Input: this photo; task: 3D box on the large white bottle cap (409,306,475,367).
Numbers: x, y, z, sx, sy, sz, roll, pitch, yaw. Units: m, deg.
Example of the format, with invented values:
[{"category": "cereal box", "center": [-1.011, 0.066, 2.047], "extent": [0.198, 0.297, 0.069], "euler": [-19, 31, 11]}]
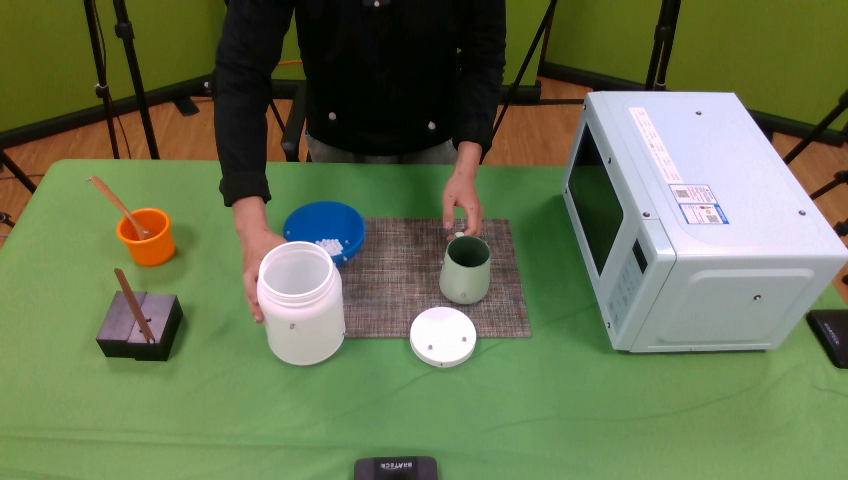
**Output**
[{"category": "large white bottle cap", "center": [0.031, 0.164, 1.040], "extent": [0.115, 0.018, 0.114], "euler": [3, 50, -3]}]

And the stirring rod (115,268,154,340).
[{"category": "stirring rod", "center": [-0.479, 0.102, 0.999], "extent": [0.014, 0.006, 0.175], "euler": [8, 32, -49]}]

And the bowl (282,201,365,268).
[{"category": "bowl", "center": [-0.186, 0.005, 1.137], "extent": [0.151, 0.077, 0.150], "euler": [3, 46, -3]}]

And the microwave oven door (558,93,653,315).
[{"category": "microwave oven door", "center": [0.327, -0.074, 1.123], "extent": [0.039, 0.245, 0.353], "euler": [0, 46, -5]}]

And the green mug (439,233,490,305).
[{"category": "green mug", "center": [0.072, 0.044, 1.102], "extent": [0.092, 0.105, 0.124], "euler": [-6, 46, -9]}]

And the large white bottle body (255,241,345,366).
[{"category": "large white bottle body", "center": [-0.196, 0.101, 0.969], "extent": [0.131, 0.185, 0.130], "euler": [2, 48, -2]}]

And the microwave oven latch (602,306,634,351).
[{"category": "microwave oven latch", "center": [0.332, 0.153, 1.044], "extent": [0.030, 0.029, 0.078], "euler": [0, 45, -4]}]

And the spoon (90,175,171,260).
[{"category": "spoon", "center": [-0.539, -0.042, 1.111], "extent": [0.021, 0.194, 0.041], "euler": [-13, 27, 53]}]

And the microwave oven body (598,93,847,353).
[{"category": "microwave oven body", "center": [0.475, -0.041, 1.109], "extent": [0.326, 0.261, 0.438], "euler": [-1, 45, -4]}]
